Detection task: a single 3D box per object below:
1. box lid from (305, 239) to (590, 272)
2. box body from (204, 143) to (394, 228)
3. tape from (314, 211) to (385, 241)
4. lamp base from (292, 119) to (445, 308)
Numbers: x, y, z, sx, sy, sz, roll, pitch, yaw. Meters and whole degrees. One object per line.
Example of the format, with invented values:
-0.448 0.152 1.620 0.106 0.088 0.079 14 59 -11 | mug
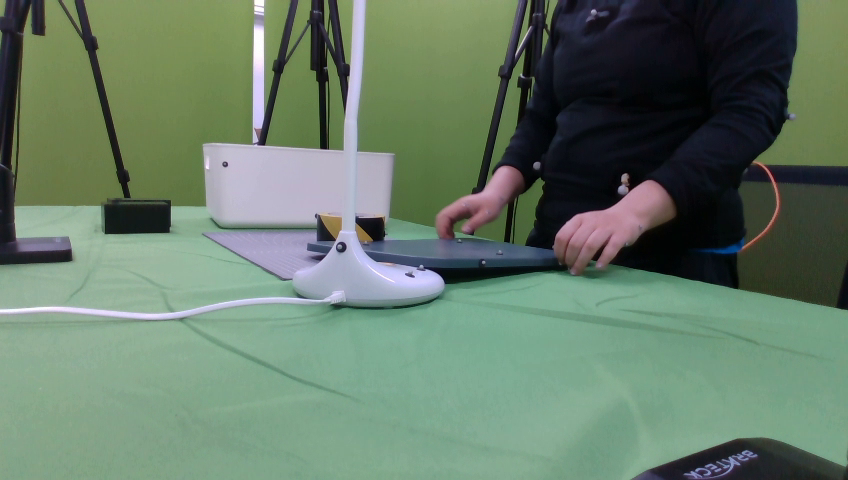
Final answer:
0.042 0.019 0.879 0.262 0.015 0.374 7 5 44 | box lid
-0.271 -0.117 1.291 0.366 0.160 0.253 -1 8 -25 | box body
-0.120 -0.017 0.973 0.117 0.052 0.117 2 7 0 | tape
-0.056 -0.030 0.616 0.160 0.180 0.179 3 10 8 | lamp base
